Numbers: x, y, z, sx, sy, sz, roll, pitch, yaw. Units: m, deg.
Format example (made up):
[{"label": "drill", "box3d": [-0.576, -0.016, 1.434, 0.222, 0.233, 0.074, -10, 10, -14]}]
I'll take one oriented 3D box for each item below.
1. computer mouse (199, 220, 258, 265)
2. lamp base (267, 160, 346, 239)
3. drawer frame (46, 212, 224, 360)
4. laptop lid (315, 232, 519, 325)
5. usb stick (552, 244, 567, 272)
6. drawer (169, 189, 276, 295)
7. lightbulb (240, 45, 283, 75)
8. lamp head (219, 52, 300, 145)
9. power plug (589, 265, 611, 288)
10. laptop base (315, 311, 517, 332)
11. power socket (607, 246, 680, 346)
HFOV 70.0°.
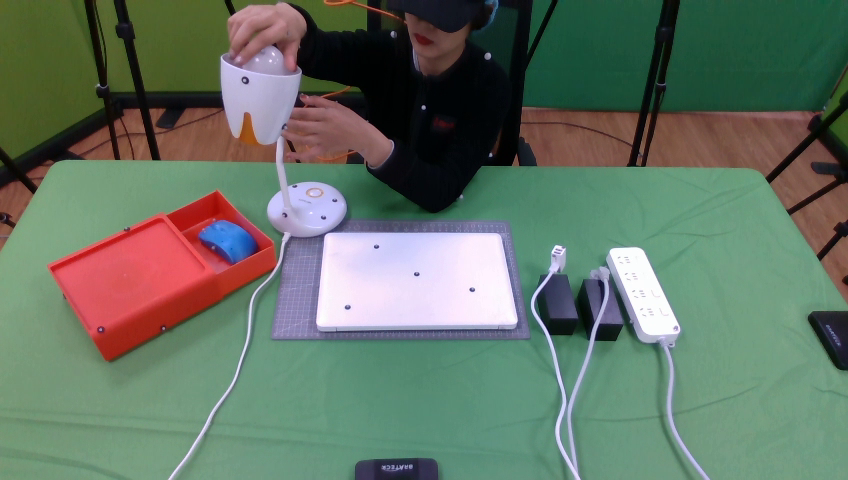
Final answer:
[{"label": "computer mouse", "box3d": [-0.374, -0.001, 1.153, 0.116, 0.041, 0.063, 30, 52, 28]}, {"label": "lamp base", "box3d": [-0.241, -0.110, 1.175, 0.160, 0.181, 0.178, 11, 49, 9]}, {"label": "drawer frame", "box3d": [-0.495, 0.071, 1.050, 0.213, 0.083, 0.200, -32, 56, -29]}, {"label": "laptop lid", "box3d": [-0.015, 0.065, 1.118, 0.357, 0.013, 0.240, 1, 43, -3]}, {"label": "usb stick", "box3d": [0.251, 0.039, 1.123, 0.021, 0.059, 0.027, 14, 47, 24]}, {"label": "drawer", "box3d": [-0.413, 0.022, 1.108, 0.212, 0.073, 0.193, -33, 57, -30]}, {"label": "lightbulb", "box3d": [-0.232, -0.223, 0.868, 0.059, 0.108, 0.059, 4, 24, -2]}, {"label": "lamp head", "box3d": [-0.244, -0.205, 0.890, 0.112, 0.123, 0.112, 10, 33, -7]}, {"label": "power plug", "box3d": [0.318, 0.073, 1.108, 0.035, 0.053, 0.072, 26, 34, 13]}, {"label": "laptop base", "box3d": [-0.016, 0.075, 1.125, 0.355, 0.023, 0.234, 0, 42, -4]}, {"label": "power socket", "box3d": [0.403, 0.096, 1.123, 0.072, 0.033, 0.225, -3, 46, -5]}]
